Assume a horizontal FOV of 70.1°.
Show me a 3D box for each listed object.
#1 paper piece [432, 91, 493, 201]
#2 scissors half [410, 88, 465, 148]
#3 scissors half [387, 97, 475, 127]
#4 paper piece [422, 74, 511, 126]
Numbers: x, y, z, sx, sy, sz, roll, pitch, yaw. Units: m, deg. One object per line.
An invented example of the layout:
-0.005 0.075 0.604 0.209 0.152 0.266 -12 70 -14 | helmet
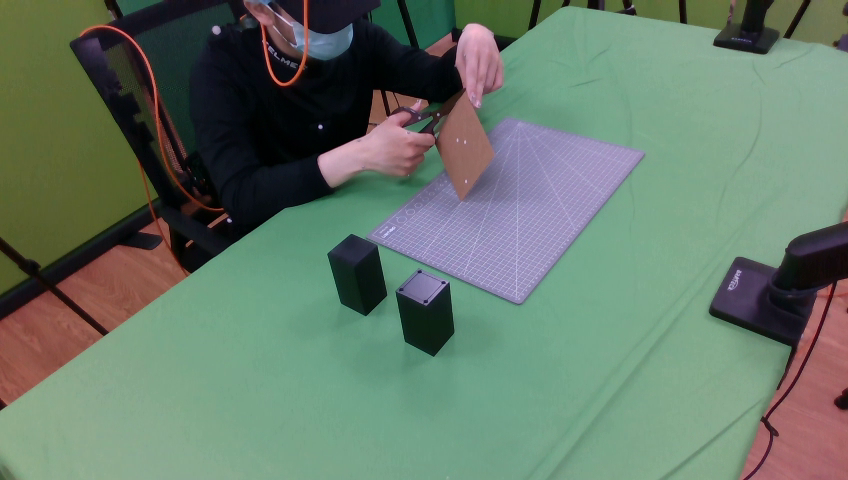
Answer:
0.062 -0.158 1.024 0.004 0.135 0.135 -10 65 -28 | paper piece
0.025 -0.212 1.058 0.040 0.174 0.013 28 54 -14 | scissors half
0.009 -0.226 1.047 0.174 0.040 0.013 -6 53 29 | scissors half
0.078 -0.252 1.099 0.139 0.008 0.135 -29 0 -41 | paper piece
